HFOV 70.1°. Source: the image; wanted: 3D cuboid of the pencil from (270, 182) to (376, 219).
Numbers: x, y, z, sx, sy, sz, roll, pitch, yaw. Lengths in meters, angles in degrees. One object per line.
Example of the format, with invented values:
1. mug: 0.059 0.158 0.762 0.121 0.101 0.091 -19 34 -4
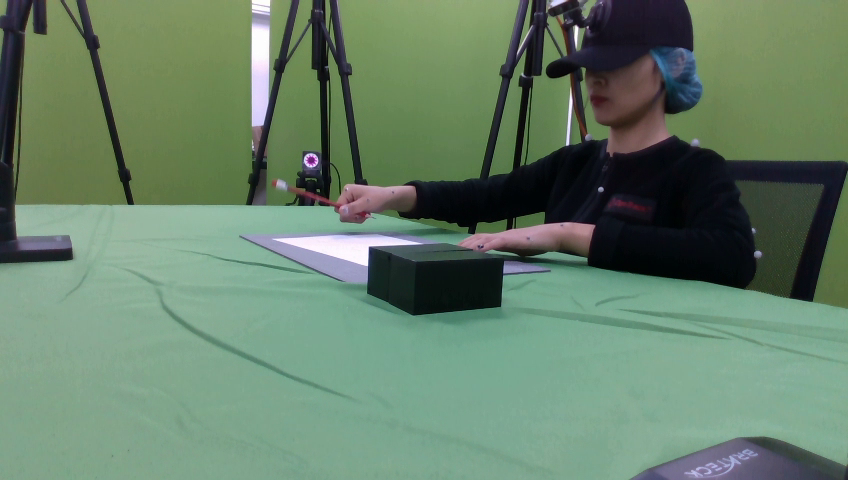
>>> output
1. pencil: -0.178 -0.069 1.081 0.194 0.012 0.012 18 3 -13
